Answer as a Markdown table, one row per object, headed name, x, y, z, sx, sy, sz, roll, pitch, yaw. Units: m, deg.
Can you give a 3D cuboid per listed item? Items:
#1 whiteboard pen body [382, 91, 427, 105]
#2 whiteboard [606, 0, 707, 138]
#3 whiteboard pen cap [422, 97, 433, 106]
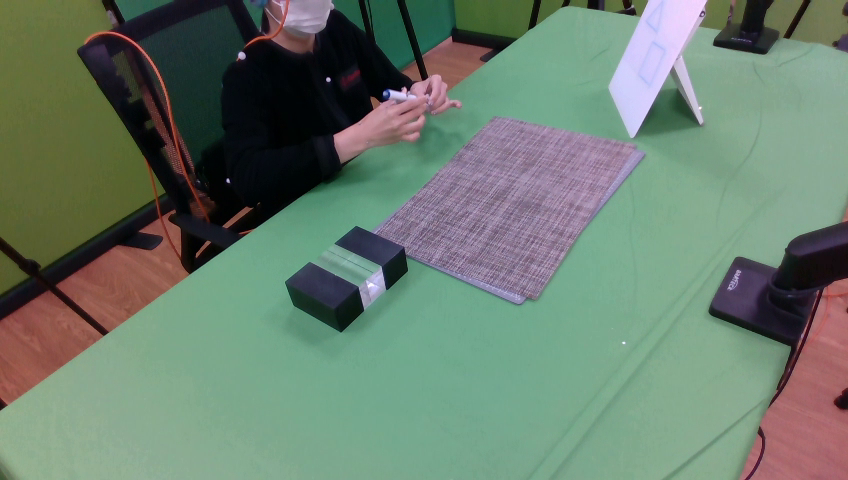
| name | x | y | z | sx | sy | sz | roll | pitch | yaw |
| --- | --- | --- | --- | --- | --- | --- | --- | --- | --- |
| whiteboard pen body | -0.029 | -0.262 | 1.123 | 0.017 | 0.017 | 0.142 | 23 | 18 | 31 |
| whiteboard | 0.496 | -0.359 | 1.147 | 0.144 | 0.305 | 0.216 | 11 | 40 | -7 |
| whiteboard pen cap | 0.004 | -0.269 | 1.173 | 0.018 | 0.018 | 0.033 | 9 | 18 | 18 |
